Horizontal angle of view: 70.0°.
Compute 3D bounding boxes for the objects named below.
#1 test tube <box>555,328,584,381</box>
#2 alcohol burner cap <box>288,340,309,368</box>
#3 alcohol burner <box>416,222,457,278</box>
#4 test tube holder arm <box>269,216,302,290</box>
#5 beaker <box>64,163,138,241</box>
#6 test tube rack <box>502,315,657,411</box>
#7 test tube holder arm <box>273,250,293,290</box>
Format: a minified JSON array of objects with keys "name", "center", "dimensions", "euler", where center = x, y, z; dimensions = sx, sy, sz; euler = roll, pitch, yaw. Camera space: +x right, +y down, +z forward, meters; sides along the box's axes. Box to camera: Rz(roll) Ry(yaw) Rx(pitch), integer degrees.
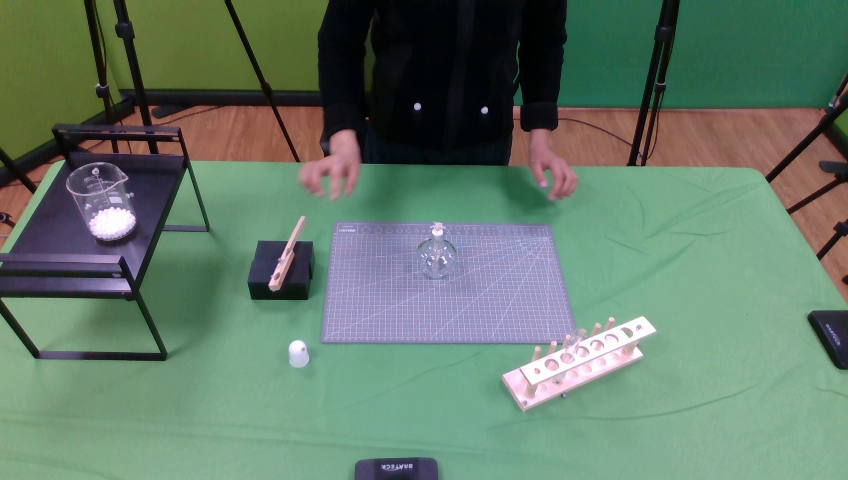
[{"name":"test tube","center":[0.221,0.178,0.926],"dimensions":[0.017,0.151,0.017],"euler":[0,51,0]},{"name":"alcohol burner cap","center":[-0.207,0.183,0.991],"dimensions":[0.034,0.048,0.033],"euler":[3,46,-3]},{"name":"alcohol burner","center":[0.024,0.013,1.116],"dimensions":[0.078,0.120,0.077],"euler":[1,45,-1]},{"name":"test tube holder arm","center":[-0.248,0.019,1.095],"dimensions":[0.013,0.015,0.177],"euler":[7,45,2]},{"name":"beaker","center":[-0.477,-0.055,0.910],"dimensions":[0.084,0.101,0.073],"euler":[-9,48,-13]},{"name":"test tube rack","center":[0.253,0.186,0.988],"dimensions":[0.242,0.085,0.066],"euler":[-18,50,-20]},{"name":"test tube holder arm","center":[-0.248,0.051,1.063],"dimensions":[0.010,0.015,0.087],"euler":[8,45,3]}]
